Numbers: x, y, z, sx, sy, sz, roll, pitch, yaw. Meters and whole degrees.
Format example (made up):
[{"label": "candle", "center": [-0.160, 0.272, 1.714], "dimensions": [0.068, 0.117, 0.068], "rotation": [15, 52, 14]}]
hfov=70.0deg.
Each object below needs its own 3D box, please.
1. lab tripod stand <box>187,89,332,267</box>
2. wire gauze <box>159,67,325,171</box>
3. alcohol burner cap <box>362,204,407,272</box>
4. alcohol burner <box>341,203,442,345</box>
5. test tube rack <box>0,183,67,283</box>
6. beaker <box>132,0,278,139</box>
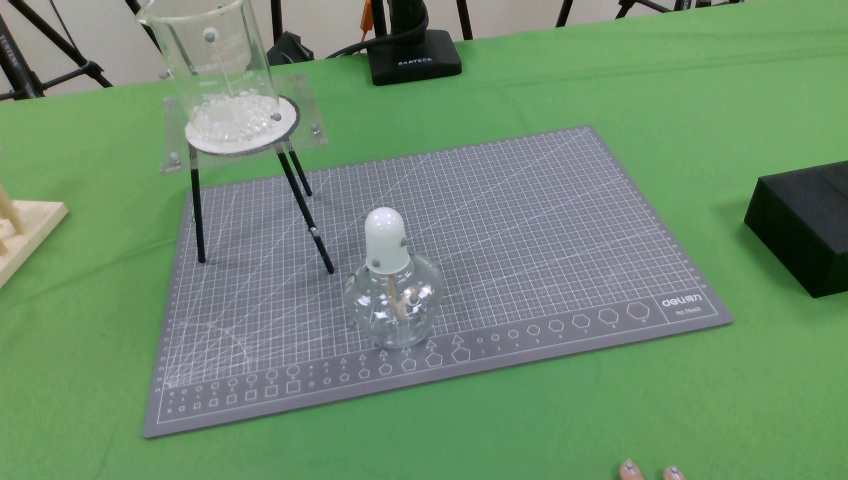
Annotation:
[{"label": "lab tripod stand", "center": [-0.144, -0.051, 0.529], "dimensions": [0.148, 0.133, 0.147], "rotation": [-3, 45, 3]}, {"label": "wire gauze", "center": [-0.149, -0.098, 0.484], "dimensions": [0.125, 0.011, 0.120], "rotation": [-16, 42, -7]}, {"label": "alcohol burner cap", "center": [-0.029, -0.003, 0.429], "dimensions": [0.034, 0.048, 0.033], "rotation": [-1, 40, 1]}, {"label": "alcohol burner", "center": [-0.026, 0.022, 0.454], "dimensions": [0.078, 0.120, 0.077], "rotation": [-3, 41, 3]}, {"label": "test tube rack", "center": [-0.427, 0.016, 0.525], "dimensions": [0.066, 0.086, 0.240], "rotation": [4, 43, 9]}, {"label": "beaker", "center": [-0.156, -0.133, 0.450], "dimensions": [0.084, 0.101, 0.073], "rotation": [-14, 43, -8]}]
